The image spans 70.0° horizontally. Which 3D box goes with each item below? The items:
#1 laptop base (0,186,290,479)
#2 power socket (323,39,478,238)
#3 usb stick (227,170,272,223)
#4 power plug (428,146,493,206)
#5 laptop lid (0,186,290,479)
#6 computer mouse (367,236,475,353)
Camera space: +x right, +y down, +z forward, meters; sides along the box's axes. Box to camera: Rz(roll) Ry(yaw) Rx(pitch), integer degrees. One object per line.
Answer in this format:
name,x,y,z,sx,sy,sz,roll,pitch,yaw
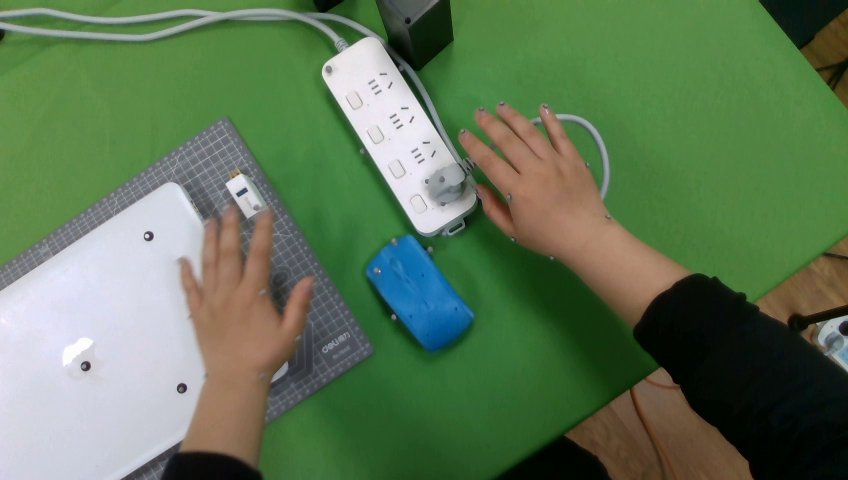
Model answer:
laptop base,-0.341,0.131,0.634,0.354,0.023,0.235,-33,86,1
power socket,-0.024,-0.104,0.622,0.072,0.032,0.226,-32,83,1
usb stick,-0.185,-0.048,0.630,0.021,0.027,0.059,-33,82,4
power plug,0.038,-0.059,0.592,0.072,0.053,0.035,-21,85,2
laptop lid,-0.341,0.132,0.622,0.357,0.013,0.241,-32,86,1
computer mouse,-0.005,0.053,0.604,0.063,0.041,0.116,-39,79,3
